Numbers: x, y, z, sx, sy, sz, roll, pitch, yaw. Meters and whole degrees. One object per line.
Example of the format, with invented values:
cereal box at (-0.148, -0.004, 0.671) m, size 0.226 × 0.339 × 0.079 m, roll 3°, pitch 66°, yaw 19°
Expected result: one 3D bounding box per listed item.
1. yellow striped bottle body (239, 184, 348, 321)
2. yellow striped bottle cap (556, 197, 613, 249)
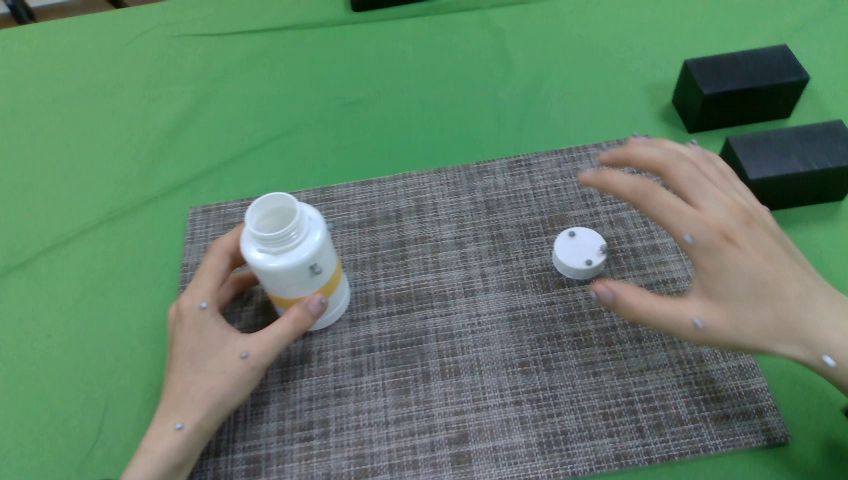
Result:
yellow striped bottle body at (-0.100, 0.009, 0.465) m, size 0.063 × 0.121 × 0.062 m, roll -3°, pitch 56°, yaw 4°
yellow striped bottle cap at (0.130, -0.014, 0.493) m, size 0.044 × 0.019 × 0.044 m, roll -5°, pitch 47°, yaw 6°
